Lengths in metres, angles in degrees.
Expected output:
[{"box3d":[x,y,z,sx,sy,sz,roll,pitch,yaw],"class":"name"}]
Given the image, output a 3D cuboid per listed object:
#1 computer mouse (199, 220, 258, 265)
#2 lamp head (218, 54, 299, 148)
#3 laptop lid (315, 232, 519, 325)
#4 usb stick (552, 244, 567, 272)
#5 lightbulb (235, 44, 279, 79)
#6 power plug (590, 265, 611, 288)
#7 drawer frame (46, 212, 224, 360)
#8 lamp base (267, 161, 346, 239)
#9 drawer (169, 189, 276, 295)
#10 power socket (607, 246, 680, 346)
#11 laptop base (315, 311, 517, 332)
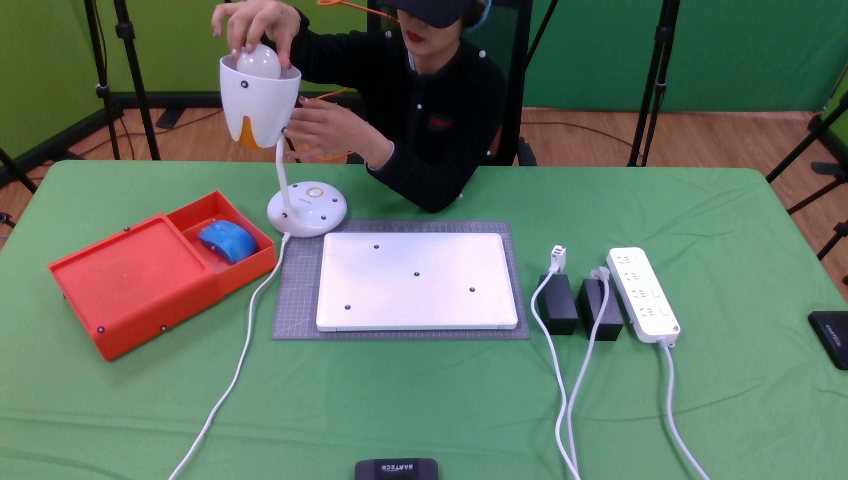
[{"box3d":[-0.374,-0.001,1.153,0.116,0.041,0.063,30,52,28],"class":"computer mouse"},{"box3d":[-0.244,-0.200,0.888,0.112,0.123,0.112,11,34,-7],"class":"lamp head"},{"box3d":[-0.015,0.065,1.118,0.357,0.013,0.240,1,43,-3],"class":"laptop lid"},{"box3d":[0.251,0.039,1.123,0.021,0.059,0.027,14,47,24],"class":"usb stick"},{"box3d":[-0.240,-0.225,0.867,0.059,0.108,0.059,10,32,-6],"class":"lightbulb"},{"box3d":[0.318,0.073,1.108,0.035,0.053,0.072,26,33,13],"class":"power plug"},{"box3d":[-0.495,0.071,1.050,0.213,0.083,0.200,-32,56,-29],"class":"drawer frame"},{"box3d":[-0.241,-0.110,1.174,0.160,0.181,0.178,11,49,10],"class":"lamp base"},{"box3d":[-0.413,0.022,1.108,0.212,0.073,0.193,-33,57,-30],"class":"drawer"},{"box3d":[0.403,0.096,1.123,0.072,0.033,0.225,-3,46,-5],"class":"power socket"},{"box3d":[-0.016,0.075,1.125,0.355,0.023,0.234,0,42,-4],"class":"laptop base"}]
